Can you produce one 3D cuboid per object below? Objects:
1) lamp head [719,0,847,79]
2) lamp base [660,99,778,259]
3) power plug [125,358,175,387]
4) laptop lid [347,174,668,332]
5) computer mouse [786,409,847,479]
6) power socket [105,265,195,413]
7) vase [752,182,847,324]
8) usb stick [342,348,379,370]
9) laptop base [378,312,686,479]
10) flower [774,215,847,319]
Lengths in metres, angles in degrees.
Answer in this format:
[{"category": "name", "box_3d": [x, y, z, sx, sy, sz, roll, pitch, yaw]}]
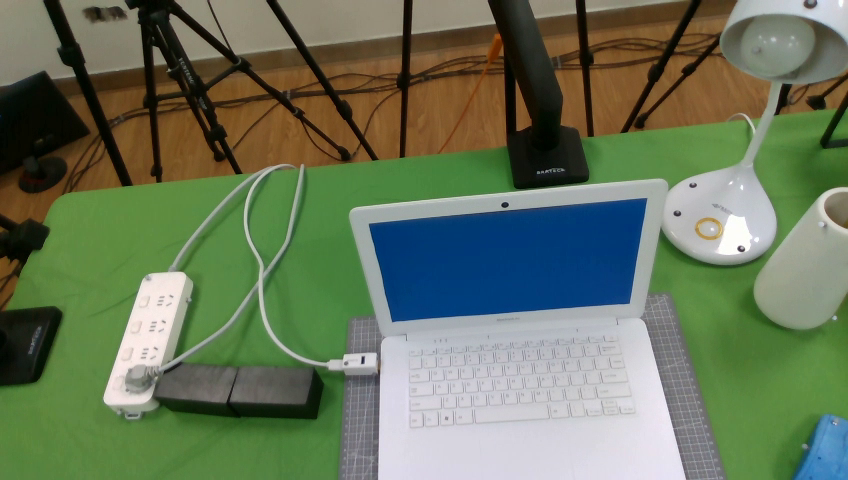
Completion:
[{"category": "lamp head", "box_3d": [0.349, -0.226, 0.560, 0.112, 0.113, 0.122, 21, 78, 21]}, {"category": "lamp base", "box_3d": [0.422, -0.093, 0.826, 0.159, 0.182, 0.178, 24, 59, 23]}, {"category": "power plug", "box_3d": [-0.361, 0.180, 0.805, 0.072, 0.053, 0.035, 7, 56, 10]}, {"category": "laptop lid", "box_3d": [0.101, 0.028, 0.738, 0.356, 0.244, 0.013, -6, 44, 5]}, {"category": "computer mouse", "box_3d": [0.456, 0.241, 0.671, 0.062, 0.041, 0.117, 31, 60, 30]}, {"category": "power socket", "box_3d": [-0.387, 0.132, 0.867, 0.072, 0.033, 0.224, -2, 54, 5]}, {"category": "vase", "box_3d": [0.469, 0.019, 0.728, 0.098, 0.202, 0.097, -5, 53, 7]}, {"category": "usb stick", "box_3d": [-0.076, 0.157, 0.800, 0.059, 0.027, 0.021, -1, 52, 2]}, {"category": "laptop base", "box_3d": [0.118, 0.208, 0.753, 0.354, 0.023, 0.233, -5, 58, 4]}, {"category": "flower", "box_3d": [0.475, -0.037, 0.665, 0.038, 0.364, 0.043, -7, 43, -17]}]
